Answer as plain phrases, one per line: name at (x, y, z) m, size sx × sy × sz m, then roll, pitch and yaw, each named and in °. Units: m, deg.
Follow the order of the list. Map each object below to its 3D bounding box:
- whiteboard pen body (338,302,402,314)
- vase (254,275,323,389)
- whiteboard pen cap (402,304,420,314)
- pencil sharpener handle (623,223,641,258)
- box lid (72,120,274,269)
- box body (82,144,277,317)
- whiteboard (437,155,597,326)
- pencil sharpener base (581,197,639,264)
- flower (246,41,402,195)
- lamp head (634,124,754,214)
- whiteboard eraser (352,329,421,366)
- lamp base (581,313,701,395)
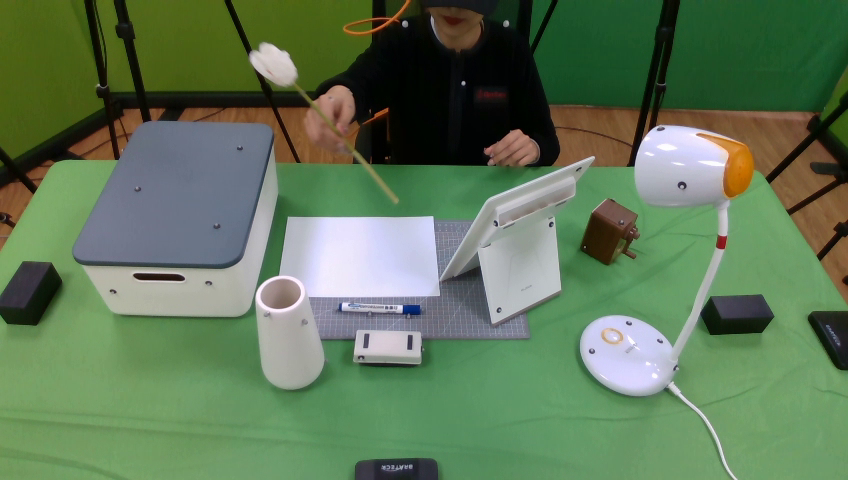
whiteboard pen body at (-0.083, 0.121, 1.074) m, size 0.141 × 0.017 × 0.017 m, roll 3°, pitch 46°, yaw -2°
vase at (-0.209, 0.143, 0.921) m, size 0.098 × 0.201 × 0.097 m, roll 1°, pitch 46°, yaw -1°
whiteboard pen cap at (-0.024, 0.123, 1.076) m, size 0.033 × 0.018 × 0.018 m, roll 1°, pitch 46°, yaw 0°
pencil sharpener handle at (0.399, 0.002, 1.146) m, size 0.030 × 0.068 × 0.036 m, roll 35°, pitch 45°, yaw 26°
box lid at (-0.417, -0.094, 1.056) m, size 0.263 × 0.015 × 0.369 m, roll 1°, pitch 47°, yaw -3°
box body at (-0.421, -0.041, 1.108) m, size 0.254 × 0.161 × 0.361 m, roll 2°, pitch 46°, yaw -3°
whiteboard at (0.180, 0.023, 1.029) m, size 0.217 × 0.306 × 0.143 m, roll -22°, pitch 71°, yaw -23°
pencil sharpener base at (0.362, -0.016, 1.178) m, size 0.076 × 0.107 × 0.061 m, roll 35°, pitch 53°, yaw 26°
flower at (-0.129, -0.163, 0.912) m, size 0.044 × 0.364 × 0.038 m, roll -11°, pitch 56°, yaw 28°
lamp head at (0.351, -0.089, 0.775) m, size 0.112 × 0.113 × 0.122 m, roll -30°, pitch 30°, yaw -28°
whiteboard eraser at (-0.061, 0.179, 1.005) m, size 0.113 × 0.042 × 0.055 m, roll 3°, pitch 48°, yaw -3°
lamp base at (0.361, 0.144, 0.972) m, size 0.178 × 0.181 × 0.160 m, roll 34°, pitch 53°, yaw 23°
